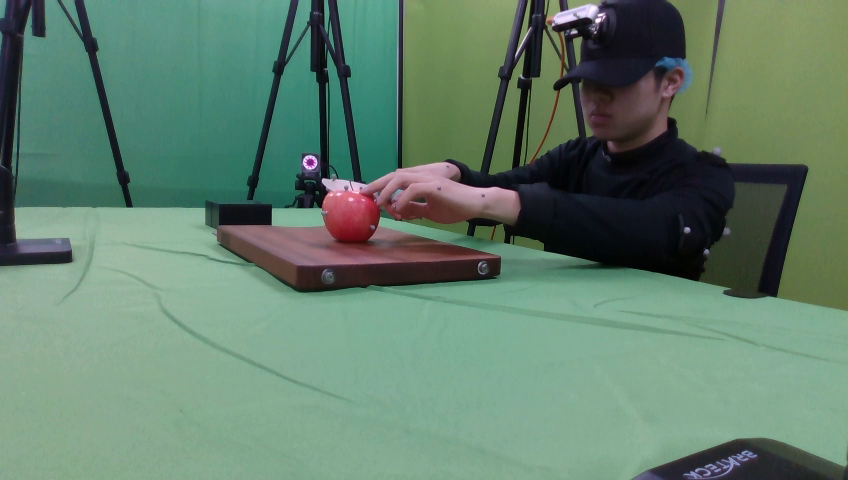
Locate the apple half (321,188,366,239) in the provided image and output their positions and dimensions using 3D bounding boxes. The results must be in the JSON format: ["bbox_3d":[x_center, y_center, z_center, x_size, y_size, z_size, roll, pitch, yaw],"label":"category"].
[{"bbox_3d":[-0.122,-0.040,0.867,0.032,0.081,0.082,13,13,43],"label":"apple half"}]

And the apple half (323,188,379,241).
[{"bbox_3d":[-0.094,-0.034,0.840,0.081,0.074,0.053,0,11,-45],"label":"apple half"}]

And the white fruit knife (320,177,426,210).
[{"bbox_3d":[-0.068,-0.071,0.892,0.016,0.027,0.208,14,4,43],"label":"white fruit knife"}]
